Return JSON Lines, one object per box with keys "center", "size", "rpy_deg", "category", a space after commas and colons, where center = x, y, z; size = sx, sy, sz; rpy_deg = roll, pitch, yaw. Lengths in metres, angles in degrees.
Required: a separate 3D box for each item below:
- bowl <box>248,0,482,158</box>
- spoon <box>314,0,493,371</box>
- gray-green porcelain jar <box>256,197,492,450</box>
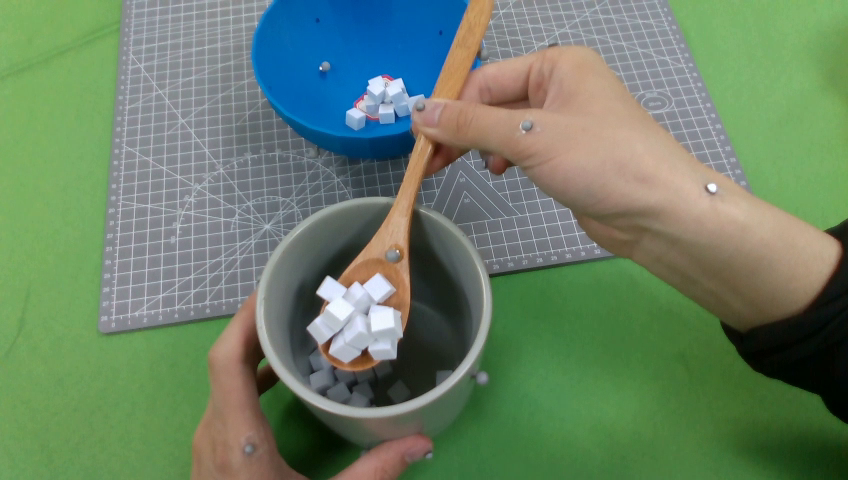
{"center": [-0.037, -0.111, 0.423], "size": [0.151, 0.077, 0.150], "rpy_deg": [0, 64, 0], "category": "bowl"}
{"center": [-0.003, -0.032, 0.283], "size": [0.041, 0.022, 0.193], "rpy_deg": [20, 88, 13], "category": "spoon"}
{"center": [-0.021, 0.053, 0.323], "size": [0.106, 0.127, 0.105], "rpy_deg": [0, 64, 1], "category": "gray-green porcelain jar"}
